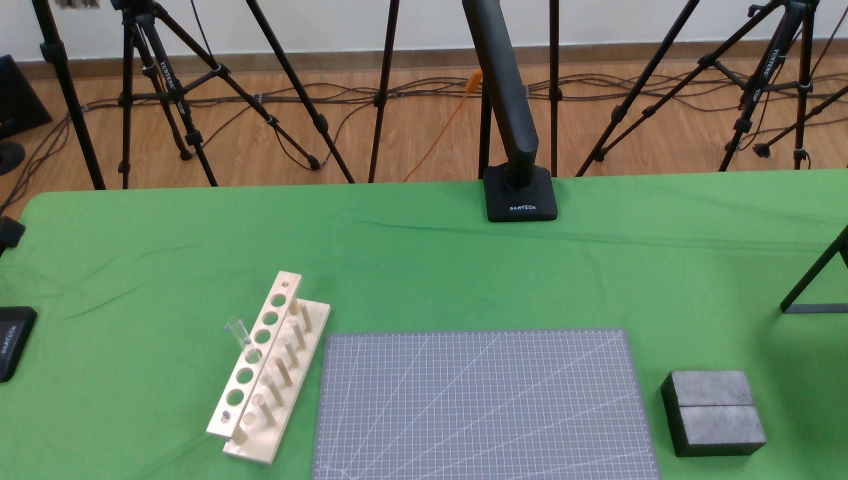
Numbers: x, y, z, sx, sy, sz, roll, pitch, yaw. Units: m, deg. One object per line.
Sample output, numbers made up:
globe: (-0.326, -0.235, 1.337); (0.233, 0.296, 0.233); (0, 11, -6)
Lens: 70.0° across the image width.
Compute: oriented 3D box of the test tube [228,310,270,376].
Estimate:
test tube: (-0.227, 0.139, 0.794); (0.017, 0.151, 0.017); (-2, 50, 3)

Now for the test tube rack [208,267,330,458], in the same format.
test tube rack: (-0.205, 0.163, 0.837); (0.066, 0.086, 0.240); (11, 54, 8)
